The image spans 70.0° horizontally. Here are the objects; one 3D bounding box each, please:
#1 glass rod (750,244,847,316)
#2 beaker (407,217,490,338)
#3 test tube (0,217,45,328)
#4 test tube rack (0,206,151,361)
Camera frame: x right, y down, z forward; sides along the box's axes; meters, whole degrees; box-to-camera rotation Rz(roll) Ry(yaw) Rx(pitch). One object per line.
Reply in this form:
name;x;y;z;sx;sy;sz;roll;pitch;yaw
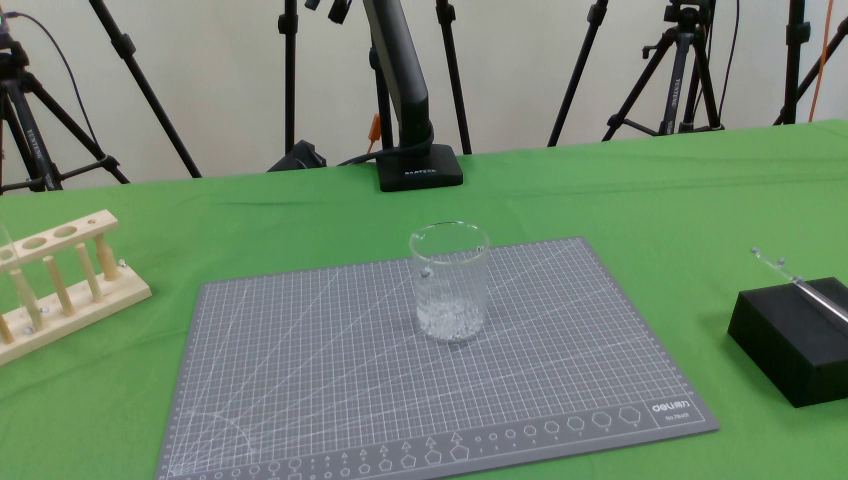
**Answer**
glass rod;0.364;0.055;0.534;0.008;0.008;0.197;-13;35;-15
beaker;0.021;0.037;0.584;0.083;0.101;0.074;24;42;35
test tube;-0.386;0.021;0.565;0.017;0.151;0.017;0;33;0
test tube rack;-0.410;0.058;0.592;0.242;0.086;0.066;-29;43;-35
